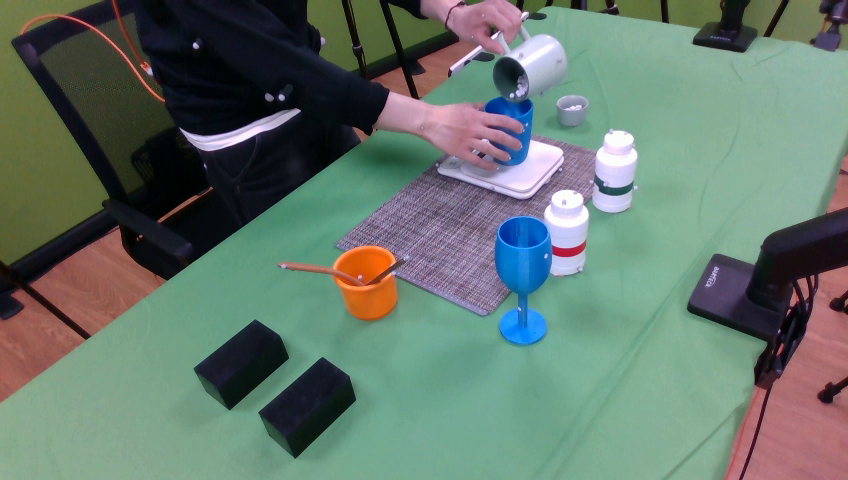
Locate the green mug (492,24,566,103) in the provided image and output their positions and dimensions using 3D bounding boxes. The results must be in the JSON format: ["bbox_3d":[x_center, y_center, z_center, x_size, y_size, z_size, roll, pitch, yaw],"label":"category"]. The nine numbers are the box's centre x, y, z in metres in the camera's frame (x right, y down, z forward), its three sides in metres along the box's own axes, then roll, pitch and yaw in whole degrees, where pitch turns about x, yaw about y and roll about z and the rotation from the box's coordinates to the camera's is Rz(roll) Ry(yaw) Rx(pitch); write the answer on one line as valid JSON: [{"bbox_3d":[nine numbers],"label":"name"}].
[{"bbox_3d":[0.170,-0.303,1.022,0.105,0.125,0.092,-34,8,-30],"label":"green mug"}]

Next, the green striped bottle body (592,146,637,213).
[{"bbox_3d":[0.307,-0.108,0.976,0.063,0.120,0.063,-4,40,4],"label":"green striped bottle body"}]

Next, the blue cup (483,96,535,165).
[{"bbox_3d":[0.149,-0.187,1.052,0.092,0.101,0.092,-6,40,5],"label":"blue cup"}]

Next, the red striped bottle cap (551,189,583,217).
[{"bbox_3d":[0.200,-0.052,0.843,0.044,0.018,0.044,-2,42,2],"label":"red striped bottle cap"}]

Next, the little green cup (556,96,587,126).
[{"bbox_3d":[0.295,-0.258,1.214,0.061,0.039,0.061,-5,41,5],"label":"little green cup"}]

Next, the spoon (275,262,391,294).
[{"bbox_3d":[-0.120,0.050,0.830,0.041,0.195,0.021,31,97,45],"label":"spoon"}]

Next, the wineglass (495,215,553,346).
[{"bbox_3d":[0.127,0.054,0.770,0.074,0.173,0.073,-4,40,4],"label":"wineglass"}]

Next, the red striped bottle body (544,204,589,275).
[{"bbox_3d":[0.206,-0.011,0.877,0.063,0.120,0.062,-5,41,4],"label":"red striped bottle body"}]

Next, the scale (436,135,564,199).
[{"bbox_3d":[0.137,-0.142,1.101,0.199,0.032,0.149,22,48,30],"label":"scale"}]

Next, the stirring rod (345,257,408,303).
[{"bbox_3d":[-0.067,0.056,0.814,0.014,0.175,0.006,-21,80,-37],"label":"stirring rod"}]

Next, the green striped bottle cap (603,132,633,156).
[{"bbox_3d":[0.302,-0.149,0.939,0.044,0.020,0.044,-3,41,3],"label":"green striped bottle cap"}]
